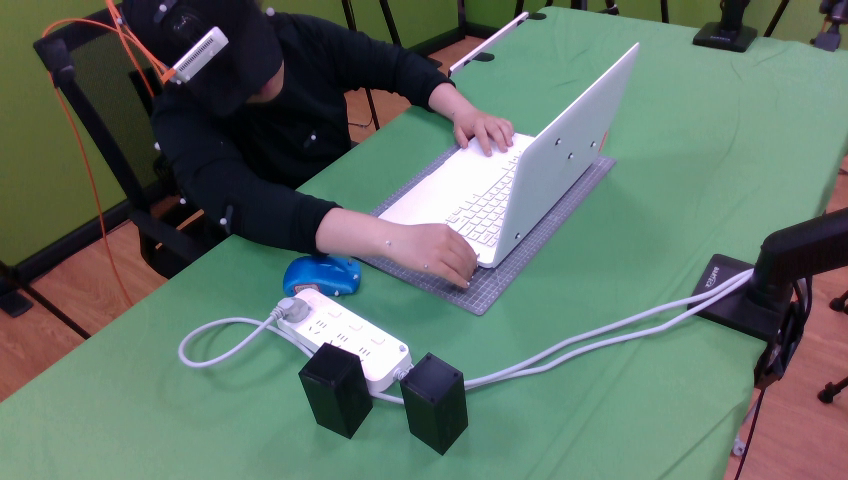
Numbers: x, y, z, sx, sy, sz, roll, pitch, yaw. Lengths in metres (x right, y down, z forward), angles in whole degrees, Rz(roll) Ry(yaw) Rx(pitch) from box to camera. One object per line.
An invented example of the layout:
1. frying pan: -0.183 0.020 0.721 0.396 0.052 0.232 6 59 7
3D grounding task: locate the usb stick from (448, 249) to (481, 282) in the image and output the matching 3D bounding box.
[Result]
1. usb stick: 0.063 0.033 0.898 0.021 0.027 0.059 23 53 34

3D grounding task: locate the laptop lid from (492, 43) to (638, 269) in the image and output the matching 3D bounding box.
1. laptop lid: 0.217 -0.129 0.911 0.013 0.242 0.358 32 51 21

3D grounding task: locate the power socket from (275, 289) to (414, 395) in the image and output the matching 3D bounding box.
1. power socket: -0.115 0.133 0.820 0.225 0.033 0.072 25 49 32

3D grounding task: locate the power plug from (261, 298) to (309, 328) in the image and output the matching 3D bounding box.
1. power plug: -0.193 0.108 0.830 0.073 0.053 0.035 -32 43 -27

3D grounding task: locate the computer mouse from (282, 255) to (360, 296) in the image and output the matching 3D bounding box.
1. computer mouse: -0.156 0.054 0.917 0.117 0.041 0.062 1 38 2

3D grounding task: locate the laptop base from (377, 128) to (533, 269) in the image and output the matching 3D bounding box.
1. laptop base: 0.116 -0.087 1.059 0.233 0.023 0.355 20 47 33
